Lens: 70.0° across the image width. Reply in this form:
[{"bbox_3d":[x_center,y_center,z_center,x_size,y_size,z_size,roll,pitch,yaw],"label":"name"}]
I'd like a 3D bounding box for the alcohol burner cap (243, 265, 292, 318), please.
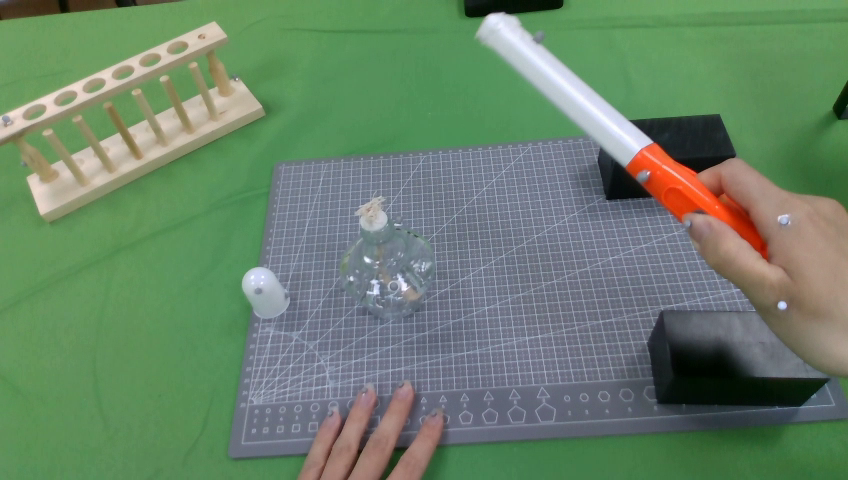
[{"bbox_3d":[-0.132,0.040,0.507,0.034,0.048,0.033,-3,55,5],"label":"alcohol burner cap"}]

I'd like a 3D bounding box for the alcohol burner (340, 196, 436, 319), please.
[{"bbox_3d":[-0.031,0.010,0.473,0.078,0.120,0.077,-3,52,5],"label":"alcohol burner"}]

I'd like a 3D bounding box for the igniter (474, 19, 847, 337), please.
[{"bbox_3d":[0.138,-0.043,0.362,0.275,0.025,0.057,44,39,14],"label":"igniter"}]

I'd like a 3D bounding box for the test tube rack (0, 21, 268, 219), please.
[{"bbox_3d":[-0.293,-0.125,0.619,0.242,0.086,0.066,-31,57,-16],"label":"test tube rack"}]
